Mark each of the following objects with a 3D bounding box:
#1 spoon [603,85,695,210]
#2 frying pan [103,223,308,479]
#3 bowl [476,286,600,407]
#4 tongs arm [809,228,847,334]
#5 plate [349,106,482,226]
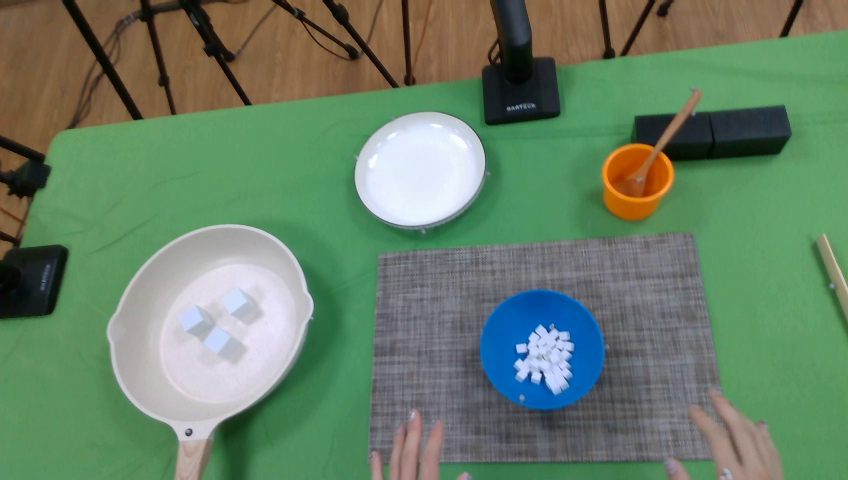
[{"bbox_3d":[0.305,-0.122,0.822,0.022,0.194,0.041,-13,49,-45],"label":"spoon"},{"bbox_3d":[-0.303,0.206,0.819,0.306,0.104,0.483,-6,57,9],"label":"frying pan"},{"bbox_3d":[0.144,0.141,0.772,0.151,0.077,0.150,-4,66,9],"label":"bowl"},{"bbox_3d":[0.544,0.159,0.720,0.028,0.028,0.384,-11,65,4],"label":"tongs arm"},{"bbox_3d":[-0.011,-0.112,0.939,0.207,0.039,0.206,-4,66,9],"label":"plate"}]
